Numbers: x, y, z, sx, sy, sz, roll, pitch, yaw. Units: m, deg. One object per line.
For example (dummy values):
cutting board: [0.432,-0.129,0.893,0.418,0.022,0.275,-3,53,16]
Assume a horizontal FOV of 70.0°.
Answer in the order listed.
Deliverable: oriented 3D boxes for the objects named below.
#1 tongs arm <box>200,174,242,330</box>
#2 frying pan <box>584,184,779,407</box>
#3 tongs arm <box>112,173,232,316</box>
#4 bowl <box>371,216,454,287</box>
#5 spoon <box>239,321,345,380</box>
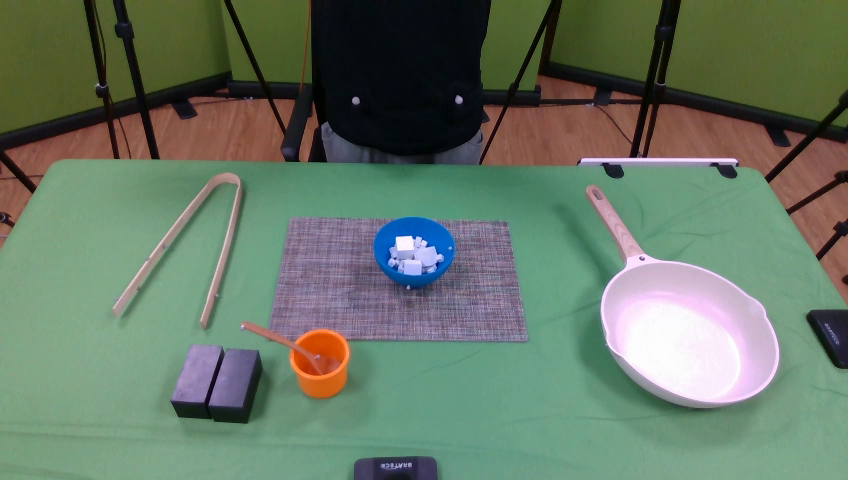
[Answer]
tongs arm: [-0.387,0.008,1.158,0.028,0.028,0.385,-1,46,-3]
frying pan: [0.412,0.079,1.096,0.307,0.103,0.484,-10,56,-15]
tongs arm: [-0.467,-0.005,1.157,0.051,0.026,0.382,11,45,4]
bowl: [-0.022,0.034,1.119,0.151,0.077,0.150,2,46,-2]
spoon: [-0.200,0.168,0.934,0.021,0.195,0.041,-33,36,25]
